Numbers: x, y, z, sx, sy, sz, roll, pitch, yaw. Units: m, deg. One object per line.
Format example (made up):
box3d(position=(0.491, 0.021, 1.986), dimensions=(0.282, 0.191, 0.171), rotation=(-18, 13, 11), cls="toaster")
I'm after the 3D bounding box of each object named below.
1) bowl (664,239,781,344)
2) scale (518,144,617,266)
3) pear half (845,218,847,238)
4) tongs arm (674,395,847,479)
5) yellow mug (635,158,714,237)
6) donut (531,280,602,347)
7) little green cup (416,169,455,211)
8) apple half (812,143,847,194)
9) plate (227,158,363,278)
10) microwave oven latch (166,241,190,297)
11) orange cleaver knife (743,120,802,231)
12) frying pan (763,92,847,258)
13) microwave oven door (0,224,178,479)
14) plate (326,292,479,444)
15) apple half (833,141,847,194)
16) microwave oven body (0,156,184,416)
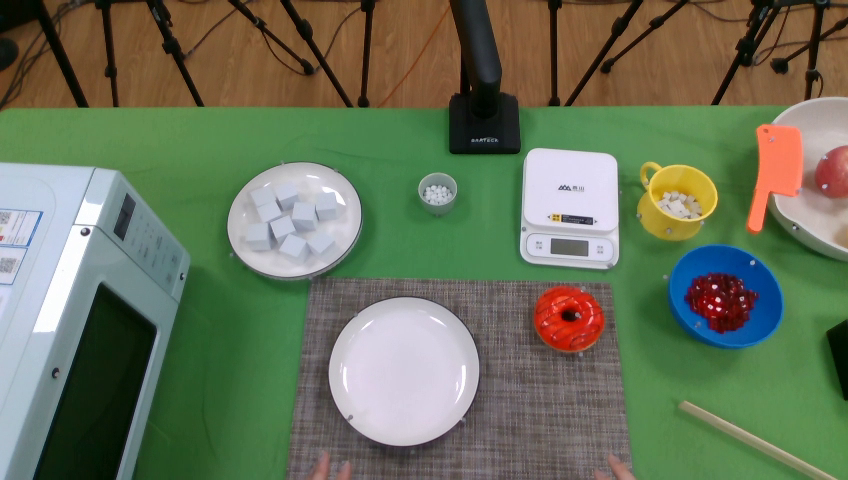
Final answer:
box3d(position=(0.404, 0.082, 0.849), dimensions=(0.151, 0.077, 0.150), rotation=(-1, 64, 2), cls="bowl")
box3d(position=(0.226, -0.059, 0.949), dimensions=(0.148, 0.032, 0.199), rotation=(5, 64, 4), cls="scale")
box3d(position=(0.657, -0.022, 0.871), dimensions=(0.076, 0.111, 0.056), rotation=(35, 69, 21), cls="pear half")
box3d(position=(0.501, 0.302, 0.764), dimensions=(0.385, 0.028, 0.028), rotation=(29, 60, 15), cls="tongs arm")
box3d(position=(0.374, -0.075, 0.934), dimensions=(0.100, 0.064, 0.129), rotation=(-29, 65, -12), cls="yellow mug")
box3d(position=(0.201, 0.104, 0.857), dimensions=(0.099, 0.048, 0.098), rotation=(-1, 64, 3), cls="donut")
box3d(position=(0.019, -0.077, 0.960), dimensions=(0.061, 0.039, 0.061), rotation=(-1, 63, 2), cls="little green cup")
box3d(position=(0.621, -0.106, 0.932), dimensions=(0.033, 0.082, 0.080), rotation=(-6, 63, -5), cls="apple half")
box3d(position=(-0.197, -0.032, 0.944), dimensions=(0.208, 0.039, 0.206), rotation=(0, 63, 1), cls="plate")
box3d(position=(-0.368, 0.042, 0.890), dimensions=(0.030, 0.030, 0.078), rotation=(5, 64, 4), cls="microwave oven latch")
box3d(position=(0.519, -0.099, 0.901), dimensions=(0.077, 0.012, 0.210), rotation=(18, 66, 11), cls="orange cleaver knife")
box3d(position=(0.695, -0.019, 0.876), dimensions=(0.307, 0.104, 0.482), rotation=(-24, 57, -9), cls="frying pan")
box3d(position=(-0.390, 0.190, 0.703), dimensions=(0.039, 0.246, 0.353), rotation=(3, 63, 3), cls="microwave oven door")
box3d(position=(-0.029, 0.174, 0.832), dimensions=(0.209, 0.038, 0.207), rotation=(-1, 64, 2), cls="plate")
box3d(position=(0.659, -0.111, 0.935), dimensions=(0.053, 0.075, 0.080), rotation=(-6, 60, -5), cls="apple half")
box3d(position=(-0.533, 0.147, 0.734), dimensions=(0.326, 0.262, 0.438), rotation=(3, 64, 3), cls="microwave oven body")
